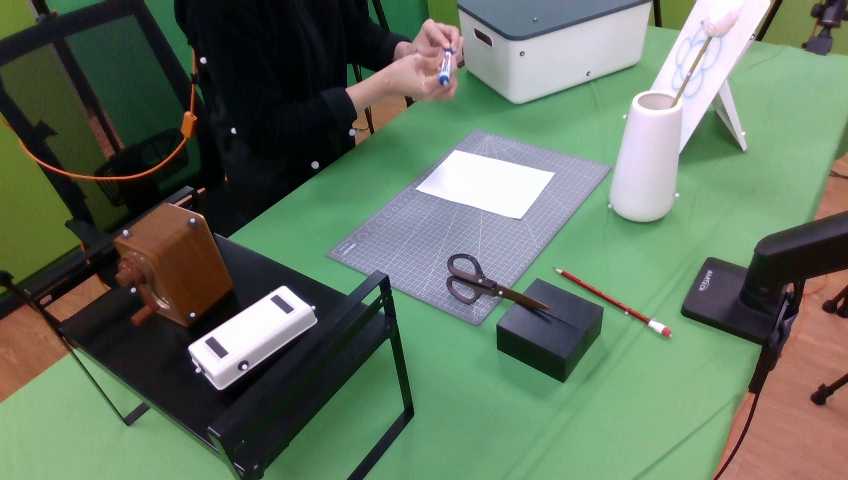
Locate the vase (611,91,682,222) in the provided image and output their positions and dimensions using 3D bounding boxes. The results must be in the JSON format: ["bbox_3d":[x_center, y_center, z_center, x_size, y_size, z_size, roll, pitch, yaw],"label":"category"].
[{"bbox_3d":[0.348,-0.125,0.935,0.098,0.201,0.097,-3,40,3],"label":"vase"}]

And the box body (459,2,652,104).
[{"bbox_3d":[0.291,-0.465,1.371,0.365,0.161,0.252,-22,42,-16],"label":"box body"}]

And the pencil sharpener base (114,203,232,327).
[{"bbox_3d":[-0.262,0.029,0.635,0.061,0.107,0.077,18,47,26],"label":"pencil sharpener base"}]

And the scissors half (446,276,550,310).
[{"bbox_3d":[0.098,0.077,0.827,0.174,0.040,0.013,6,14,44],"label":"scissors half"}]

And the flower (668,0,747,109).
[{"bbox_3d":[0.354,-0.187,0.879,0.038,0.362,0.044,31,48,14],"label":"flower"}]

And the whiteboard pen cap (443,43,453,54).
[{"bbox_3d":[0.040,-0.317,1.012,0.018,0.018,0.033,-3,35,5],"label":"whiteboard pen cap"}]

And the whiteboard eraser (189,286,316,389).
[{"bbox_3d":[-0.166,0.096,0.593,0.113,0.042,0.055,-36,46,-29],"label":"whiteboard eraser"}]

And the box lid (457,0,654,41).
[{"bbox_3d":[0.285,-0.522,1.323,0.373,0.015,0.261,-22,43,-16],"label":"box lid"}]

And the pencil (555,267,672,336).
[{"bbox_3d":[0.260,0.082,0.851,0.012,0.012,0.192,-33,46,-27],"label":"pencil"}]

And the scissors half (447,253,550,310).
[{"bbox_3d":[0.098,0.058,0.821,0.173,0.040,0.013,27,33,37],"label":"scissors half"}]

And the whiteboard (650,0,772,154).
[{"bbox_3d":[0.543,-0.298,1.076,0.144,0.305,0.216,12,40,-7],"label":"whiteboard"}]

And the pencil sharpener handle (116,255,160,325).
[{"bbox_3d":[-0.286,0.050,0.594,0.035,0.068,0.031,7,41,35],"label":"pencil sharpener handle"}]

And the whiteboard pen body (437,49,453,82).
[{"bbox_3d":[0.035,-0.282,0.962,0.017,0.017,0.140,0,34,8],"label":"whiteboard pen body"}]
